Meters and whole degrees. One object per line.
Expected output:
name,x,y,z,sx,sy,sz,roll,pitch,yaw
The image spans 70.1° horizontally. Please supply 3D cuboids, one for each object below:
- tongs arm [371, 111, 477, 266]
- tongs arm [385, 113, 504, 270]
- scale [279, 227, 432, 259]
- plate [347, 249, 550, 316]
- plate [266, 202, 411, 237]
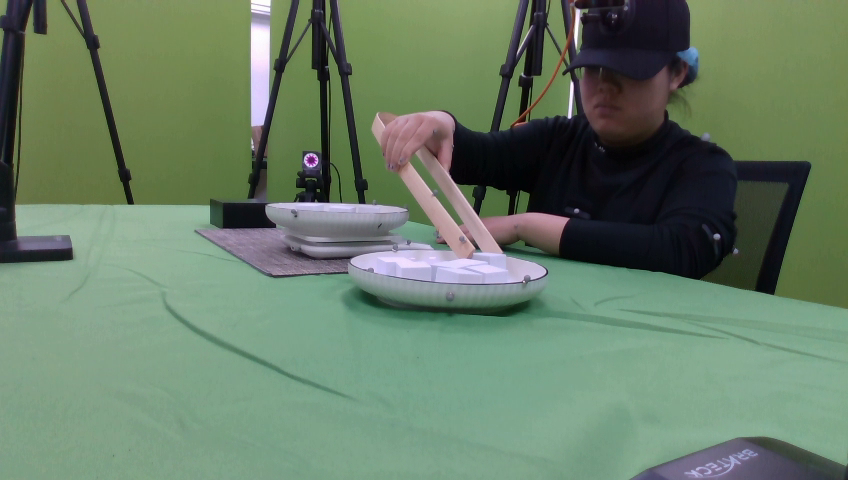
tongs arm,-0.005,-0.086,0.804,0.051,0.026,0.383,6,31,-31
tongs arm,0.018,-0.082,0.816,0.028,0.028,0.385,5,32,-26
scale,-0.100,0.001,0.899,0.202,0.031,0.148,-1,9,-31
plate,0.024,0.042,0.627,0.209,0.038,0.209,2,7,0
plate,-0.123,-0.030,0.879,0.208,0.039,0.207,2,6,0
